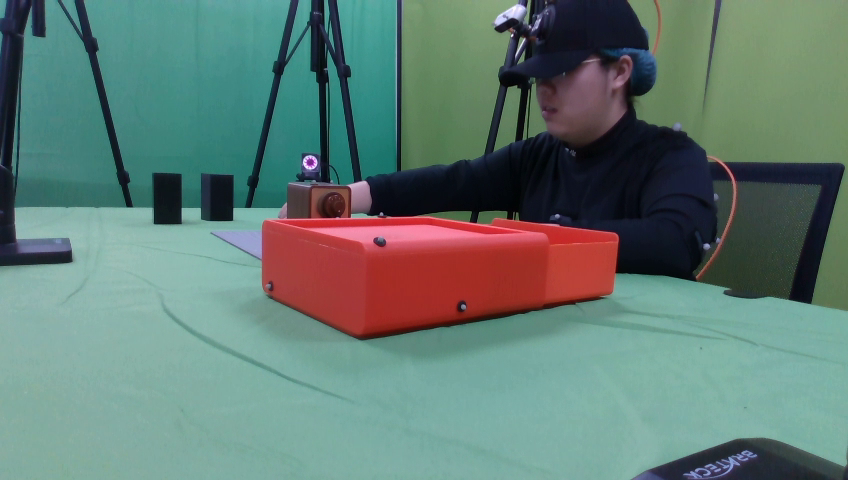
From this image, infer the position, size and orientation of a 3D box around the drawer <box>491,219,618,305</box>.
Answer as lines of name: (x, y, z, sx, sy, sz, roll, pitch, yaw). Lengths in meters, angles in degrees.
drawer: (0.071, 0.021, 0.670, 0.213, 0.073, 0.193, -3, 10, -39)

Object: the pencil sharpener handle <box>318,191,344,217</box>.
pencil sharpener handle: (-0.107, -0.026, 0.747, 0.036, 0.067, 0.030, -5, 11, -36)

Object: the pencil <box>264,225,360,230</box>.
pencil: (-0.210, -0.024, 1.157, 0.195, 0.012, 0.012, -1, 8, -32)

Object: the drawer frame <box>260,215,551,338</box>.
drawer frame: (-0.021, 0.023, 0.595, 0.215, 0.082, 0.200, -4, 10, -38)

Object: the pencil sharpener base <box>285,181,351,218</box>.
pencil sharpener base: (-0.139, -0.021, 0.789, 0.062, 0.107, 0.076, -2, 9, -36)
